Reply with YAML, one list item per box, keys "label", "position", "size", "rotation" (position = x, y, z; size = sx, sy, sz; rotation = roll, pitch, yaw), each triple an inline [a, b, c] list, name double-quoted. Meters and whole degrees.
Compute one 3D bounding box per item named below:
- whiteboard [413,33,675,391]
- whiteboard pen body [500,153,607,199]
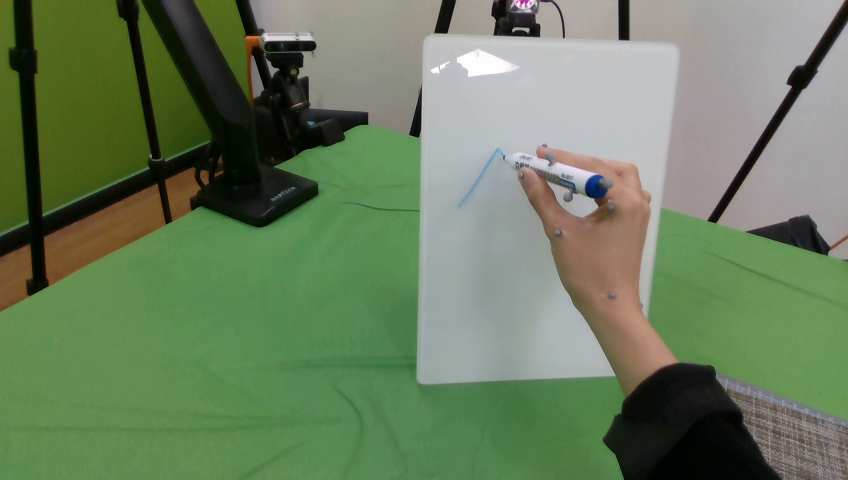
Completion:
- label: "whiteboard"
  position: [0.092, -0.030, 0.587]
  size: [0.218, 0.306, 0.143]
  rotation: [-1, 14, -8]
- label: "whiteboard pen body"
  position: [0.087, -0.050, 0.441]
  size: [0.017, 0.017, 0.139]
  rotation: [-7, 17, -17]
